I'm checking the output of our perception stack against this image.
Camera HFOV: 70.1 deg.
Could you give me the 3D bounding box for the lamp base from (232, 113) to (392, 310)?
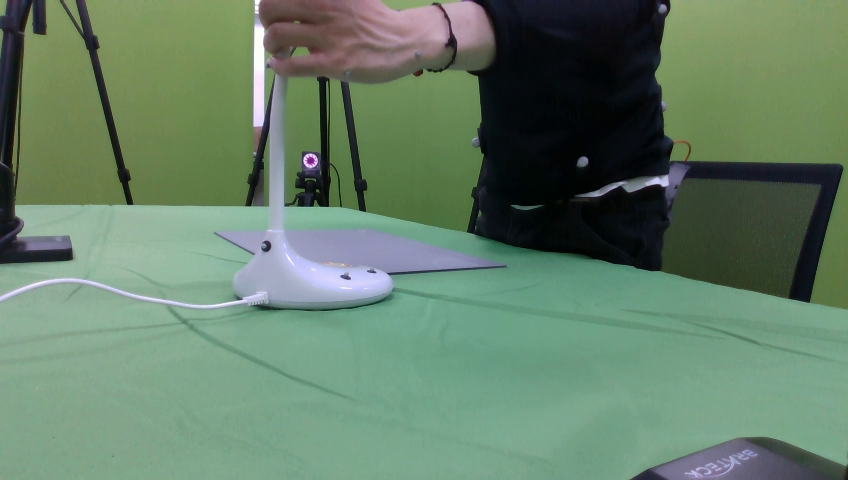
[{"bbox_3d":[-0.113,-0.031,0.593,0.160,0.180,0.179,4,10,18],"label":"lamp base"}]
